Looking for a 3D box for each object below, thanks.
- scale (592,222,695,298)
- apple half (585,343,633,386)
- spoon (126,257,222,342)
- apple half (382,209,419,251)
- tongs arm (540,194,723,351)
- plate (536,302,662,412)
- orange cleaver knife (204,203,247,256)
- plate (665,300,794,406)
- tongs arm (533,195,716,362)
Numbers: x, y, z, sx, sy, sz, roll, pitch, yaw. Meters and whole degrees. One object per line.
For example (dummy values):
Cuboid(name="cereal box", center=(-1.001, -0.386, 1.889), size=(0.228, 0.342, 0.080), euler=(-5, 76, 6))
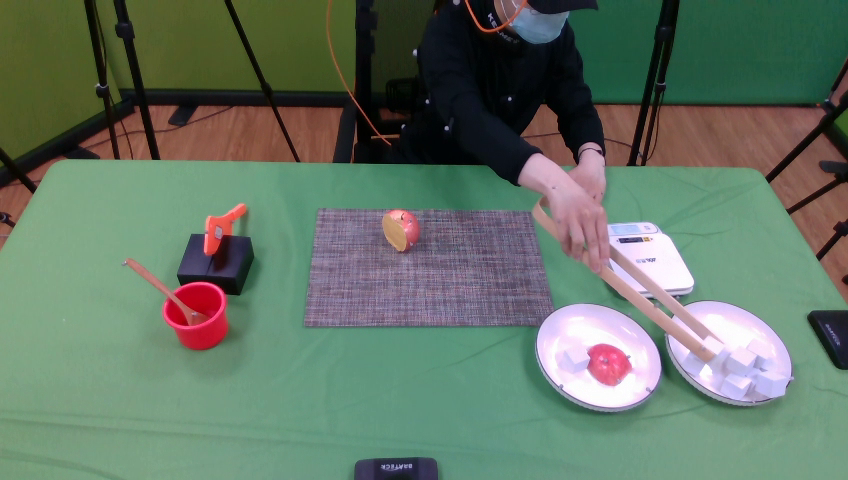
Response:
Cuboid(name="scale", center=(0.424, 0.031, 1.189), size=(0.149, 0.032, 0.199), euler=(-3, 46, -7))
Cuboid(name="apple half", center=(0.309, 0.198, 1.008), size=(0.081, 0.033, 0.081), euler=(4, 48, -4))
Cuboid(name="spoon", center=(-0.408, 0.096, 0.990), size=(0.194, 0.021, 0.041), euler=(50, 53, -18))
Cuboid(name="apple half", center=(-0.039, -0.022, 1.175), size=(0.053, 0.075, 0.080), euler=(-27, 49, -31))
Cuboid(name="tongs arm", center=(0.349, 0.049, 1.046), size=(0.028, 0.028, 0.386), euler=(-33, 68, -36))
Cuboid(name="plate", center=(0.288, 0.196, 1.016), size=(0.209, 0.038, 0.208), euler=(2, 46, -2))
Cuboid(name="orange cleaver knife", center=(-0.374, -0.024, 1.146), size=(0.012, 0.077, 0.211), euler=(4, 14, 1))
Cuboid(name="plate", center=(0.513, 0.194, 1.034), size=(0.208, 0.039, 0.206), euler=(2, 46, -2))
Cuboid(name="tongs arm", center=(0.333, 0.058, 1.031), size=(0.383, 0.026, 0.051), euler=(41, 48, 15))
